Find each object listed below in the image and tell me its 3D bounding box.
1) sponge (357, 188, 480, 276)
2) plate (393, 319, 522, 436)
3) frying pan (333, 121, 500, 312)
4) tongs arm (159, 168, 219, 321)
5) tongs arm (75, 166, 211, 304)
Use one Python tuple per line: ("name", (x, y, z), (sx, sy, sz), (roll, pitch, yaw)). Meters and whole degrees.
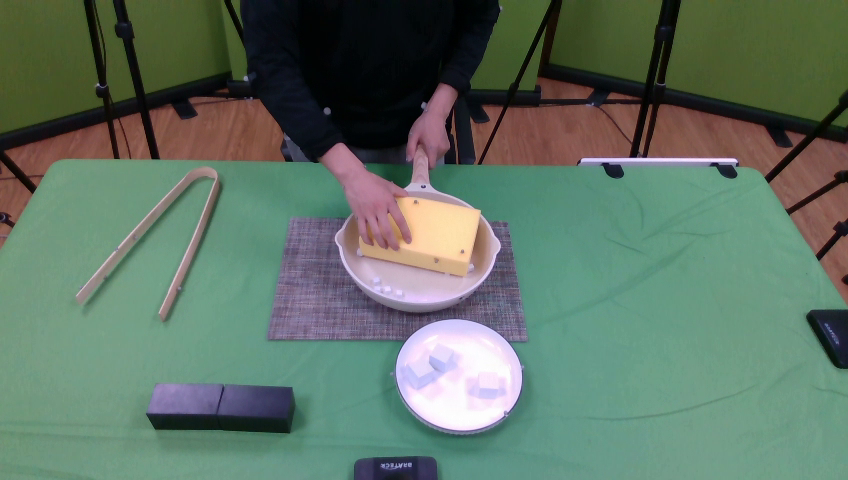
("sponge", (-0.009, -0.015, 1.141), (0.207, 0.061, 0.117), (12, 61, 5))
("plate", (0.053, 0.222, 0.979), (0.208, 0.039, 0.206), (3, 46, -2))
("frying pan", (-0.011, -0.063, 1.195), (0.307, 0.103, 0.485), (4, 55, -2))
("tongs arm", (-0.446, -0.006, 1.164), (0.028, 0.028, 0.385), (1, 46, 0))
("tongs arm", (-0.526, -0.021, 1.167), (0.051, 0.026, 0.383), (13, 46, 7))
